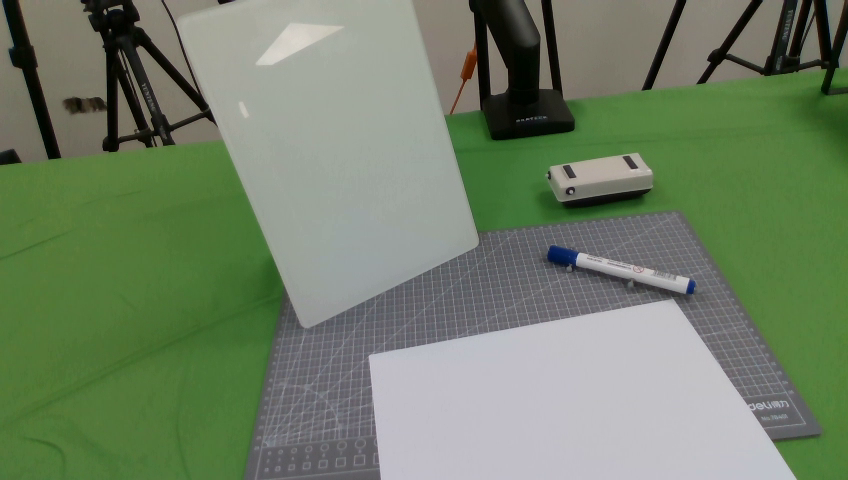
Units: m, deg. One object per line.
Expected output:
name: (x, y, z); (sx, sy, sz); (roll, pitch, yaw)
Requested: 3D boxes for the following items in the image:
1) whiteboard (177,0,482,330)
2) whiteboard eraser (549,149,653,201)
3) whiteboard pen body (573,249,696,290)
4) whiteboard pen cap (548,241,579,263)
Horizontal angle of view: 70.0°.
whiteboard: (-0.098, -0.103, 0.643); (0.217, 0.307, 0.142); (-25, 21, -20)
whiteboard eraser: (0.210, -0.075, 0.723); (0.113, 0.042, 0.055); (-8, 40, -2)
whiteboard pen body: (0.198, 0.026, 0.608); (0.140, 0.017, 0.017); (15, 43, 27)
whiteboard pen cap: (0.149, 0.013, 0.636); (0.033, 0.018, 0.018); (17, 44, 25)
